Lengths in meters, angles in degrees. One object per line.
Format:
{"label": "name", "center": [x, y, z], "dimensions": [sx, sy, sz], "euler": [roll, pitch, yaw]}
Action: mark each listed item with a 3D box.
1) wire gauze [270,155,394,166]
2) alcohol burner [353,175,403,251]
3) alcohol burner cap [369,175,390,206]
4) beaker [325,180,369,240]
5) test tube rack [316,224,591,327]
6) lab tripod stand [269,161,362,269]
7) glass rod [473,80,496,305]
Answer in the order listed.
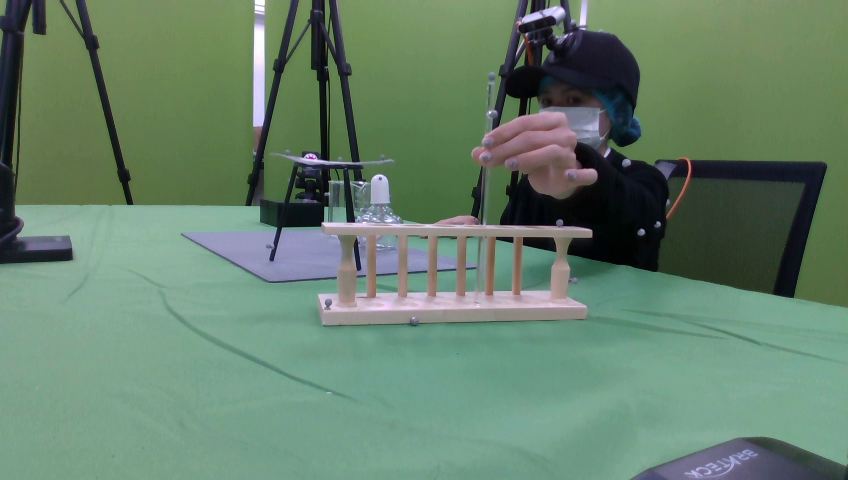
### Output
{"label": "wire gauze", "center": [-0.122, -0.102, 0.785], "dimensions": [0.122, 0.011, 0.124], "euler": [-3, 10, -39]}
{"label": "alcohol burner", "center": [-0.072, -0.042, 0.944], "dimensions": [0.078, 0.119, 0.078], "euler": [1, 9, 0]}
{"label": "alcohol burner cap", "center": [-0.069, -0.077, 0.939], "dimensions": [0.034, 0.048, 0.034], "euler": [-1, 6, 0]}
{"label": "beaker", "center": [-0.133, -0.052, 1.058], "dimensions": [0.074, 0.100, 0.083], "euler": [-3, 10, -36]}
{"label": "test tube rack", "center": [0.026, 0.028, 0.555], "dimensions": [0.243, 0.085, 0.066], "euler": [1, 7, -14]}
{"label": "lab tripod stand", "center": [-0.125, -0.036, 0.793], "dimensions": [0.148, 0.131, 0.148], "euler": [5, 7, 0]}
{"label": "glass rod", "center": [0.054, -0.040, 0.537], "dimensions": [0.008, 0.199, 0.008], "euler": [4, 5, 0]}
